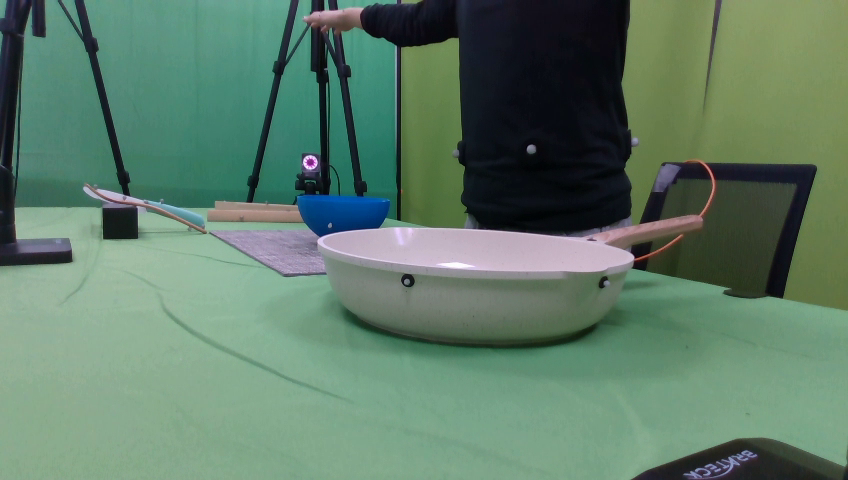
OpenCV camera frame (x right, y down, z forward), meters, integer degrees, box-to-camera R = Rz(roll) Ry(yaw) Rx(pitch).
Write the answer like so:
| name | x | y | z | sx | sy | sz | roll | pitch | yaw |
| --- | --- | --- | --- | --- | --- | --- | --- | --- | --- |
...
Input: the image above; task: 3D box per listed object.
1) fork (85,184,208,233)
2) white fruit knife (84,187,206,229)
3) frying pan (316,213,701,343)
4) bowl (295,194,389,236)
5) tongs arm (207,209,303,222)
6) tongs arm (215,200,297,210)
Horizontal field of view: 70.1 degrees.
| name | x | y | z | sx | sy | sz | roll | pitch | yaw |
| --- | --- | --- | --- | --- | --- | --- | --- | --- | --- |
| fork | -0.462 | -0.051 | 1.019 | 0.208 | 0.018 | 0.028 | 22 | -11 | -37 |
| white fruit knife | -0.488 | -0.059 | 1.071 | 0.208 | 0.027 | 0.016 | 17 | 4 | -33 |
| frying pan | 0.133 | 0.013 | 0.629 | 0.490 | 0.102 | 0.305 | -12 | 14 | -30 |
| bowl | -0.132 | -0.032 | 0.980 | 0.151 | 0.077 | 0.151 | 2 | 7 | 0 |
| tongs arm | -0.277 | -0.055 | 1.347 | 0.389 | 0.028 | 0.028 | 0 | 5 | -22 |
| tongs arm | -0.295 | -0.069 | 1.425 | 0.386 | 0.026 | 0.050 | 2 | 8 | -9 |
